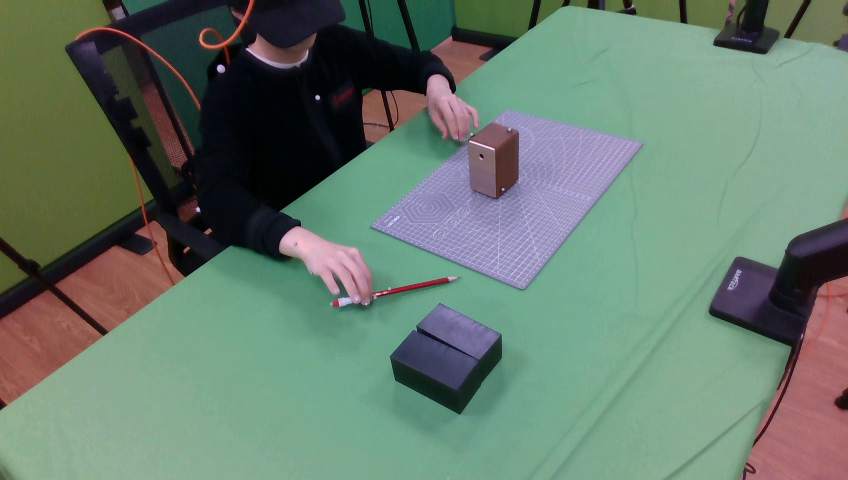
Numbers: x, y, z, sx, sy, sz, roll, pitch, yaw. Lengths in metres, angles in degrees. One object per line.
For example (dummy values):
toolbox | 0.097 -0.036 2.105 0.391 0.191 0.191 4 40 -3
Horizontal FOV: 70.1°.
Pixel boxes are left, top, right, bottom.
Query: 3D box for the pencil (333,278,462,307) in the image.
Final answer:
pencil | -0.038 0.076 0.897 0.194 0.012 0.012 -11 40 -9

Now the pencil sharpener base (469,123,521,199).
pencil sharpener base | 0.126 -0.138 1.050 0.061 0.107 0.077 24 50 33

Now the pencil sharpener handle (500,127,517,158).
pencil sharpener handle | 0.155 -0.177 1.071 0.036 0.068 0.031 32 53 24
